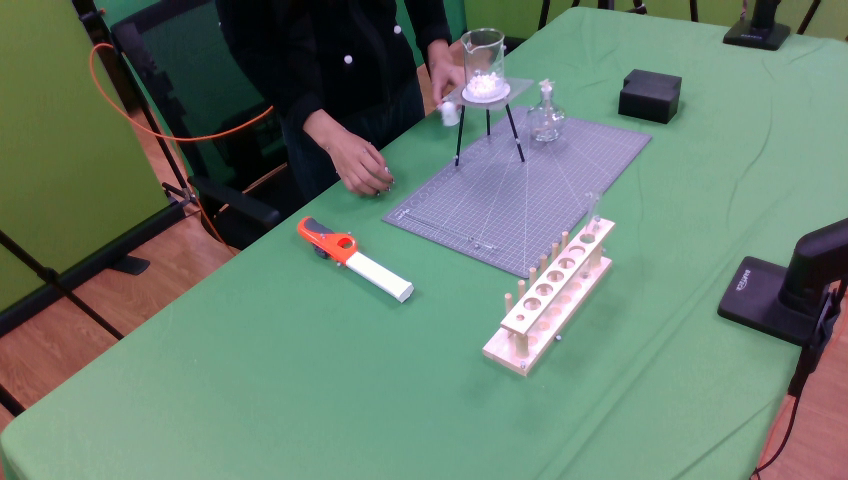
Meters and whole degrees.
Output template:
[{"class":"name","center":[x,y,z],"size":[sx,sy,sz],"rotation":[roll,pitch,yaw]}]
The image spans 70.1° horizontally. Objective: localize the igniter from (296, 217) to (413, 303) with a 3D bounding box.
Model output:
[{"class":"igniter","center":[-0.121,0.025,0.970],"size":[0.274,0.025,0.057],"rotation":[30,63,37]}]

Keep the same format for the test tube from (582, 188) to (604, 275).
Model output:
[{"class":"test tube","center":[0.228,-0.007,0.821],"size":[0.017,0.151,0.017],"rotation":[-3,42,3]}]

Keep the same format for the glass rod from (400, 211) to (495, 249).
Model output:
[{"class":"glass rod","center":[0.035,-0.018,1.002],"size":[0.198,0.008,0.008],"rotation":[21,49,35]}]

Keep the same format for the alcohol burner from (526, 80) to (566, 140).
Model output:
[{"class":"alcohol burner","center":[0.235,-0.252,1.159],"size":[0.078,0.119,0.077],"rotation":[-4,42,4]}]

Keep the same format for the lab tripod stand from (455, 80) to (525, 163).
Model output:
[{"class":"lab tripod stand","center":[0.120,-0.219,1.126],"size":[0.148,0.132,0.147],"rotation":[-4,40,4]}]

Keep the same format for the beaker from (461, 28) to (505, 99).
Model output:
[{"class":"beaker","center":[0.103,-0.304,1.051],"size":[0.073,0.101,0.084],"rotation":[19,48,29]}]

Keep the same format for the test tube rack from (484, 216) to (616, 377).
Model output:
[{"class":"test tube rack","center":[0.174,0.064,0.823],"size":[0.066,0.085,0.243],"rotation":[23,49,32]}]

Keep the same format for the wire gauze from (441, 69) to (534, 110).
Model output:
[{"class":"wire gauze","center":[0.114,-0.268,1.082],"size":[0.120,0.011,0.125],"rotation":[22,47,28]}]

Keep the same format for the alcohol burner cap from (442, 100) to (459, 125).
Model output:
[{"class":"alcohol burner cap","center":[0.051,-0.259,1.219],"size":[0.034,0.048,0.033],"rotation":[-9,40,8]}]
